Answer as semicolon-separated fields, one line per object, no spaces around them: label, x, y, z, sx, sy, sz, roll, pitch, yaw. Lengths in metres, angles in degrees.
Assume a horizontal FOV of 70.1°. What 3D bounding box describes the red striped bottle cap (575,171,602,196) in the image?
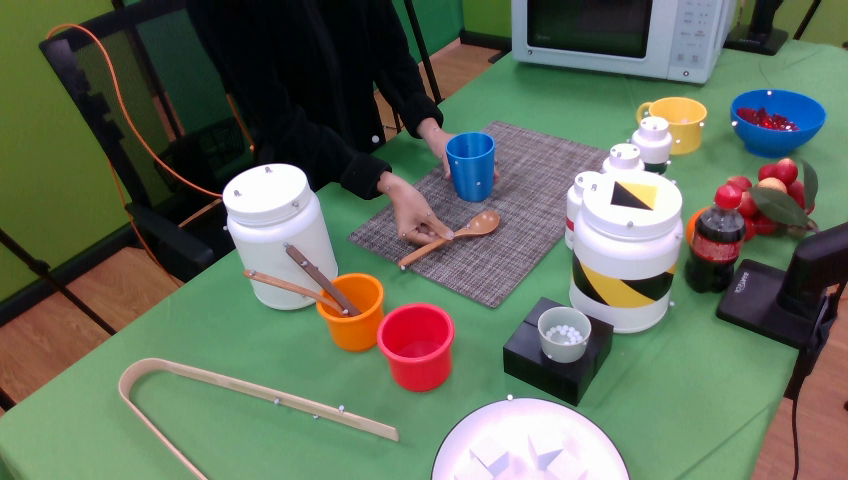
red striped bottle cap;0.242;-0.081;0.876;0.044;0.018;0.044;-5;44;5

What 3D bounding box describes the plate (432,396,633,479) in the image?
plate;0.112;0.261;0.634;0.209;0.038;0.208;-5;40;4

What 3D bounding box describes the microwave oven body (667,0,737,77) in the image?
microwave oven body;0.462;-0.552;1.369;0.439;0.261;0.326;15;45;26

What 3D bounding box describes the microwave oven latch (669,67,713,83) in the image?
microwave oven latch;0.556;-0.348;1.261;0.078;0.029;0.030;16;46;27

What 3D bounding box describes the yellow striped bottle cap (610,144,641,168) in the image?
yellow striped bottle cap;0.307;-0.128;0.923;0.044;0.019;0.044;-6;39;5

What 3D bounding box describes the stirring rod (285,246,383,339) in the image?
stirring rod;-0.121;0.071;0.819;0.176;0.006;0.014;44;52;-6

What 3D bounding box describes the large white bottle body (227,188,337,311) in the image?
large white bottle body;-0.207;-0.002;0.883;0.130;0.185;0.130;-4;40;4

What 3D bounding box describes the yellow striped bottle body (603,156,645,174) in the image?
yellow striped bottle body;0.313;-0.089;0.956;0.063;0.121;0.062;-4;40;4

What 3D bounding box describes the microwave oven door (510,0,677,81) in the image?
microwave oven door;0.354;-0.478;1.290;0.353;0.245;0.039;15;45;25

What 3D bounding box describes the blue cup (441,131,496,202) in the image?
blue cup;0.083;-0.121;1.040;0.092;0.100;0.092;-5;41;5

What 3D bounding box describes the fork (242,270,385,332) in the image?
fork;-0.142;0.082;0.802;0.209;0.018;0.028;28;38;-26

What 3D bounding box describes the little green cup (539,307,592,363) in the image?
little green cup;0.168;0.115;0.721;0.061;0.039;0.061;-4;42;4

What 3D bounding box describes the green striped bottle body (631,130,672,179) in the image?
green striped bottle body;0.375;-0.140;1.007;0.063;0.120;0.063;-5;40;4

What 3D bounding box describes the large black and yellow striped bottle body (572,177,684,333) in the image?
large black and yellow striped bottle body;0.262;0.017;0.788;0.131;0.185;0.130;-5;40;4

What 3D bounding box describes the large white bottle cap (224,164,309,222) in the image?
large white bottle cap;-0.216;-0.066;0.829;0.115;0.018;0.114;-4;40;4

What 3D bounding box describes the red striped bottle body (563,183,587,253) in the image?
red striped bottle body;0.246;-0.041;0.910;0.063;0.120;0.062;-2;38;2

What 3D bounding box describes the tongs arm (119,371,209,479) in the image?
tongs arm;-0.258;0.257;0.700;0.384;0.028;0.028;24;55;34

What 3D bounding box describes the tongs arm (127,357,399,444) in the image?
tongs arm;-0.213;0.205;0.755;0.382;0.026;0.051;12;46;23

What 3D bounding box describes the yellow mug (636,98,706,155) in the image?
yellow mug;0.453;-0.217;1.128;0.100;0.064;0.129;-34;46;-27

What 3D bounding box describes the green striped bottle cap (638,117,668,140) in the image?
green striped bottle cap;0.369;-0.180;0.974;0.044;0.020;0.044;-4;41;4

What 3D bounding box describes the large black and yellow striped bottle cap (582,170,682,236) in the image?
large black and yellow striped bottle cap;0.252;-0.048;0.735;0.115;0.019;0.114;-3;40;3

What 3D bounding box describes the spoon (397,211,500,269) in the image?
spoon;0.040;0.000;0.956;0.195;0.022;0.041;-24;57;-25

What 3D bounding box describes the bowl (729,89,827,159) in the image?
bowl;0.615;-0.197;1.069;0.151;0.077;0.150;-5;40;5
